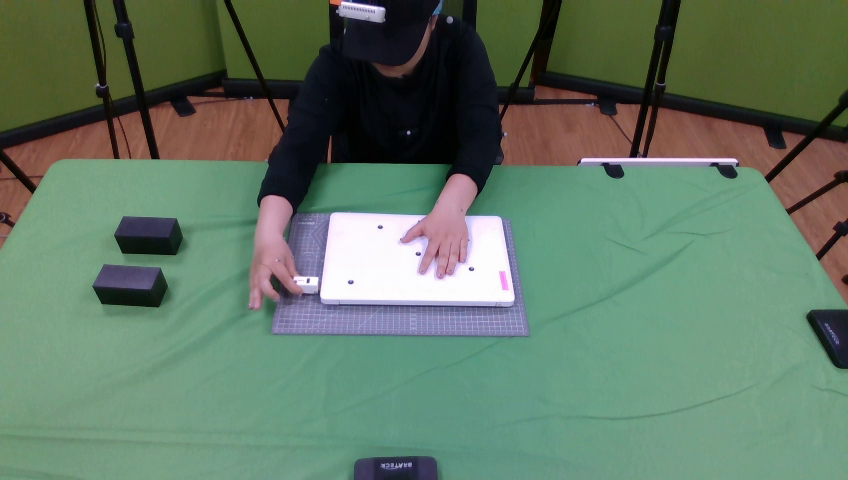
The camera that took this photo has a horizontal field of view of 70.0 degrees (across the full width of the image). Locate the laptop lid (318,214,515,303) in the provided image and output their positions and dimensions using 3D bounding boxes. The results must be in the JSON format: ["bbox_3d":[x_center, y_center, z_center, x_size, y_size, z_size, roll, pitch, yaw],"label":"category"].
[{"bbox_3d":[-0.014,0.029,1.157,0.357,0.013,0.240,3,43,-2],"label":"laptop lid"}]

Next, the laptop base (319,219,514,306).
[{"bbox_3d":[-0.015,0.038,1.162,0.354,0.023,0.234,1,42,-3],"label":"laptop base"}]

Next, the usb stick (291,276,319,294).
[{"bbox_3d":[-0.206,0.081,1.085,0.059,0.027,0.021,6,50,-7],"label":"usb stick"}]
